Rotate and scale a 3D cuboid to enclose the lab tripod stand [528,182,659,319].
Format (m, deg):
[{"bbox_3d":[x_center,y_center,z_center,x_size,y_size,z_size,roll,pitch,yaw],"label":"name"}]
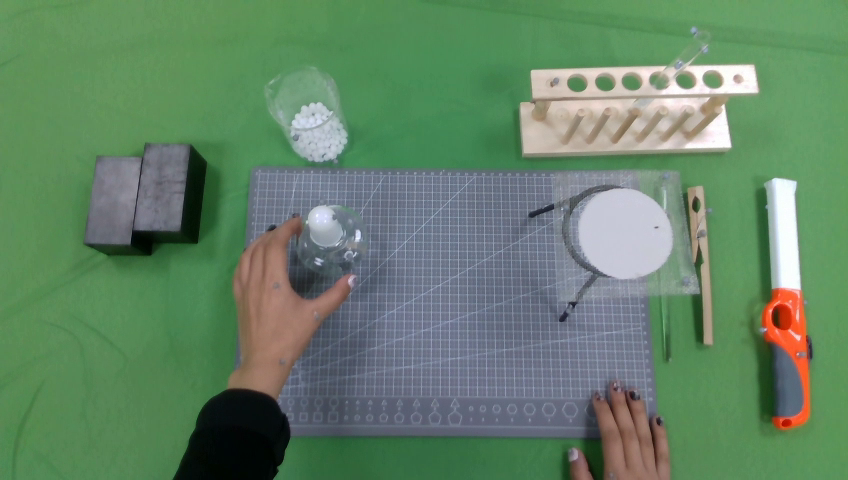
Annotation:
[{"bbox_3d":[0.168,0.003,0.620,0.148,0.132,0.147,0,76,2],"label":"lab tripod stand"}]

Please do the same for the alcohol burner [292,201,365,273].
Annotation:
[{"bbox_3d":[-0.102,-0.008,0.629,0.078,0.119,0.077,0,74,1],"label":"alcohol burner"}]

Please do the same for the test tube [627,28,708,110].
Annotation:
[{"bbox_3d":[0.253,-0.175,0.641,0.017,0.150,0.017,2,75,-6],"label":"test tube"}]

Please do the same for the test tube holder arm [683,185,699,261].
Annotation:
[{"bbox_3d":[0.306,-0.020,0.690,0.010,0.015,0.087,-11,72,37],"label":"test tube holder arm"}]

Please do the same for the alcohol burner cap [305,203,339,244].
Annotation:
[{"bbox_3d":[-0.102,-0.019,0.594,0.034,0.048,0.033,1,67,-3],"label":"alcohol burner cap"}]

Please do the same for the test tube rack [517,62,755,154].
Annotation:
[{"bbox_3d":[0.234,-0.147,0.685,0.242,0.085,0.066,-2,76,-1],"label":"test tube rack"}]

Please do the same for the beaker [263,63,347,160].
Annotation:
[{"bbox_3d":[-0.128,-0.137,0.670,0.084,0.101,0.073,19,76,5],"label":"beaker"}]

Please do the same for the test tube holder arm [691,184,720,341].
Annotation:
[{"bbox_3d":[0.312,0.023,0.675,0.013,0.015,0.177,-14,71,36],"label":"test tube holder arm"}]

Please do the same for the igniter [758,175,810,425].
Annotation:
[{"bbox_3d":[0.393,0.061,0.666,0.057,0.025,0.275,8,76,-9],"label":"igniter"}]

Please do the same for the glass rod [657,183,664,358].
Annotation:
[{"bbox_3d":[0.266,0.032,0.682,0.008,0.008,0.199,4,80,0],"label":"glass rod"}]

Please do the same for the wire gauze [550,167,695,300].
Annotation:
[{"bbox_3d":[0.178,-0.009,0.553,0.121,0.011,0.124,-1,75,1],"label":"wire gauze"}]
